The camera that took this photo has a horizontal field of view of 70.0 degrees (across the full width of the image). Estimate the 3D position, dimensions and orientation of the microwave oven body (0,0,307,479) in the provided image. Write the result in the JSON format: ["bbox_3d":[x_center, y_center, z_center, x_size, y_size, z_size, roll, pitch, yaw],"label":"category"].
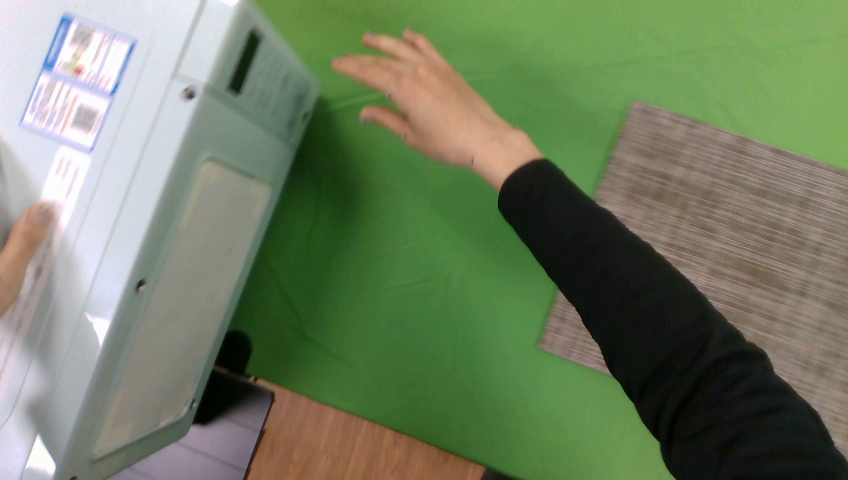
[{"bbox_3d":[-0.362,-0.042,0.607,0.325,0.260,0.441,21,91,5],"label":"microwave oven body"}]

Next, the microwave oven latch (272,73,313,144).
[{"bbox_3d":[-0.152,-0.152,0.690,0.030,0.029,0.079,22,91,5],"label":"microwave oven latch"}]

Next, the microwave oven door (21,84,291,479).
[{"bbox_3d":[-0.241,0.048,0.590,0.039,0.244,0.355,20,90,6],"label":"microwave oven door"}]

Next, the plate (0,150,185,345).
[{"bbox_3d":[-0.358,0.007,0.663,0.209,0.038,0.209,0,90,4],"label":"plate"}]
